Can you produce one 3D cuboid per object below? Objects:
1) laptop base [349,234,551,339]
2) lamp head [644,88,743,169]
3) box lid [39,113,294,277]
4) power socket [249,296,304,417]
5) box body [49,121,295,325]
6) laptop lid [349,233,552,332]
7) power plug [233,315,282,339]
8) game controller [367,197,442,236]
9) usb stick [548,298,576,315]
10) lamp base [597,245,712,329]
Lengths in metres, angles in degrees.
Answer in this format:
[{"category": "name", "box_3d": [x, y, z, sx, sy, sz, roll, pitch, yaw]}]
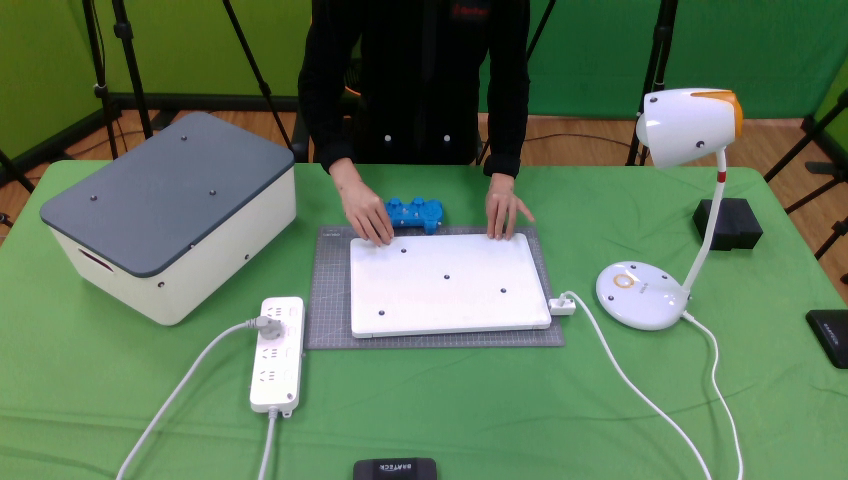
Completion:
[{"category": "laptop base", "box_3d": [0.040, 0.081, 1.125, 0.355, 0.023, 0.234, -2, 43, -6]}, {"category": "lamp head", "box_3d": [0.380, -0.161, 0.851, 0.122, 0.113, 0.112, -4, 42, 25]}, {"category": "box lid", "box_3d": [-0.435, -0.096, 1.056, 0.262, 0.015, 0.370, 25, 48, 18]}, {"category": "power socket", "box_3d": [-0.239, 0.182, 0.996, 0.072, 0.033, 0.225, -2, 47, -5]}, {"category": "box body", "box_3d": [-0.437, -0.046, 1.110, 0.253, 0.161, 0.363, 24, 49, 19]}, {"category": "laptop lid", "box_3d": [0.040, 0.071, 1.118, 0.357, 0.013, 0.240, -1, 44, -5]}, {"category": "power plug", "box_3d": [-0.271, 0.144, 0.999, 0.072, 0.053, 0.035, 6, 47, 3]}, {"category": "game controller", "box_3d": [-0.037, -0.056, 1.231, 0.155, 0.052, 0.096, -2, 48, -6]}, {"category": "usb stick", "box_3d": [0.240, 0.120, 1.086, 0.059, 0.027, 0.021, -2, 52, -2]}, {"category": "lamp base", "box_3d": [0.418, 0.051, 1.071, 0.179, 0.181, 0.160, 22, 49, 13]}]
